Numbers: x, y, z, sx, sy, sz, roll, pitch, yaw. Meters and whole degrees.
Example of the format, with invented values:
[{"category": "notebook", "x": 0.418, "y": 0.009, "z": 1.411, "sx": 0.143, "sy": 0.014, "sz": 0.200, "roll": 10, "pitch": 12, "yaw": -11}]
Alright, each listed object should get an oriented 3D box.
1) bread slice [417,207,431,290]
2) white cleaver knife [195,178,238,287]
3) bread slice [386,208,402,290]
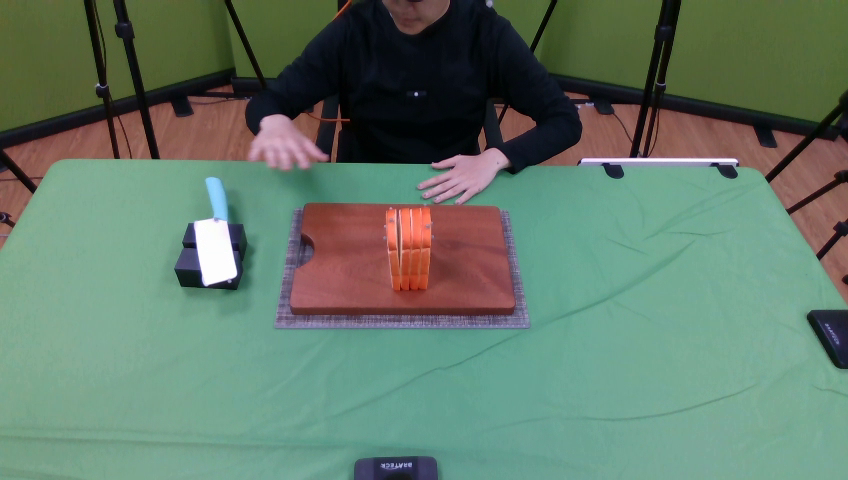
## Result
[{"category": "bread slice", "x": 0.000, "y": 0.009, "z": 1.071, "sx": 0.018, "sy": 0.135, "sz": 0.106, "roll": 0, "pitch": 49, "yaw": -4}, {"category": "white cleaver knife", "x": -0.393, "y": -0.024, "z": 1.132, "sx": 0.066, "sy": 0.021, "sz": 0.284, "roll": -11, "pitch": 46, "yaw": -15}, {"category": "bread slice", "x": -0.054, "y": 0.009, "z": 1.069, "sx": 0.019, "sy": 0.132, "sz": 0.104, "roll": -5, "pitch": 46, "yaw": 0}]
